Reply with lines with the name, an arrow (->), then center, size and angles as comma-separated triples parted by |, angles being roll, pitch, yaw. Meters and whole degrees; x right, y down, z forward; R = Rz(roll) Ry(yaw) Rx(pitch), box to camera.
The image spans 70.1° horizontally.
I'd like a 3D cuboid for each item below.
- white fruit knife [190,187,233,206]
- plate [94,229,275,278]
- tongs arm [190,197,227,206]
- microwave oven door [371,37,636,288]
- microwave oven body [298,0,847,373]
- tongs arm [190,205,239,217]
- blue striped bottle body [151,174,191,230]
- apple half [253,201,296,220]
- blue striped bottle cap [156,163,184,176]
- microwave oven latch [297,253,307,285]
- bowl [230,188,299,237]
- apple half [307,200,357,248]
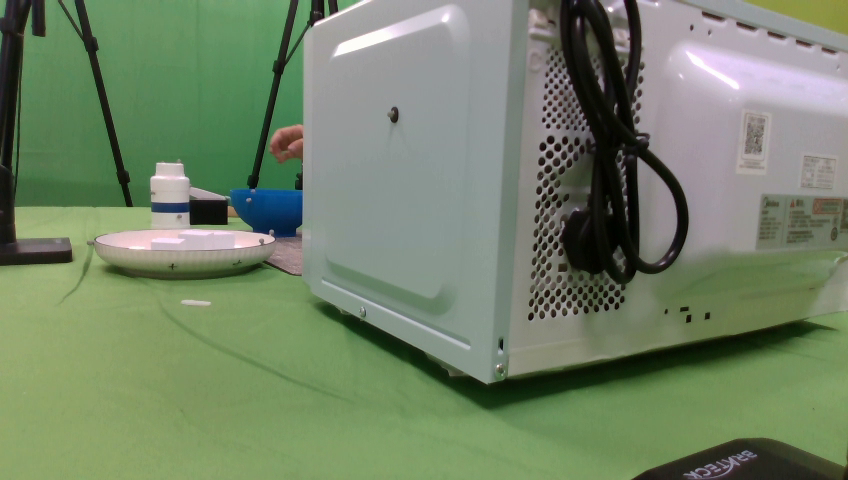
white fruit knife -> -0.413, -0.081, 1.270 | 0.208, 0.027, 0.016 | 17, 13, -41
plate -> -0.291, 0.016, 0.750 | 0.208, 0.039, 0.207 | 2, 7, 0
tongs arm -> -0.404, -0.081, 1.479 | 0.385, 0.026, 0.050 | 3, 8, -2
microwave oven door -> 0.109, -0.080, 0.686 | 0.358, 0.243, 0.039 | -2, 9, -33
microwave oven body -> 0.151, -0.055, 0.542 | 0.444, 0.260, 0.324 | -2, 7, -33
tongs arm -> -0.396, -0.066, 1.399 | 0.389, 0.028, 0.028 | 1, 6, -15
blue striped bottle body -> -0.439, -0.071, 1.052 | 0.063, 0.120, 0.063 | 2, 7, 0
apple half -> -0.264, -0.053, 1.066 | 0.081, 0.033, 0.081 | 1, 8, 0
blue striped bottle cap -> -0.438, -0.122, 1.045 | 0.044, 0.020, 0.044 | 5, 6, 0
microwave oven latch -> -0.081, 0.027, 0.582 | 0.079, 0.029, 0.030 | -1, 7, -32
bowl -> -0.264, -0.048, 1.066 | 0.151, 0.077, 0.151 | 3, 8, 0
apple half -> -0.135, -0.024, 0.941 | 0.053, 0.074, 0.081 | 13, 9, 39
